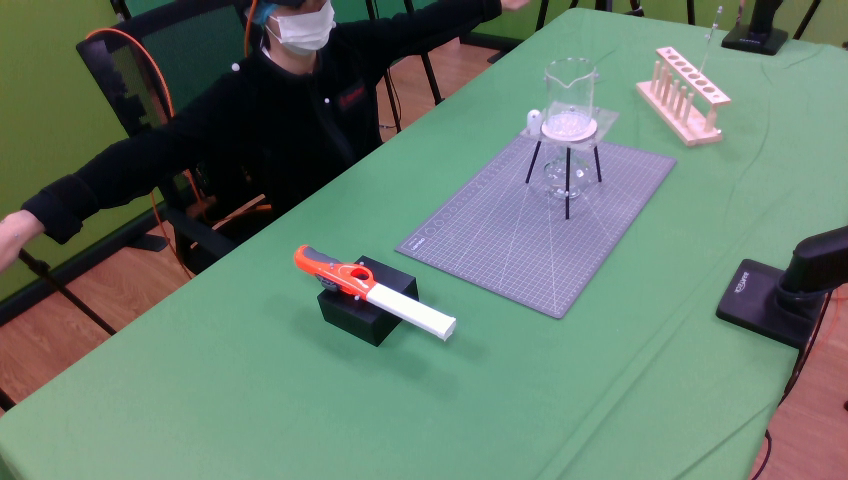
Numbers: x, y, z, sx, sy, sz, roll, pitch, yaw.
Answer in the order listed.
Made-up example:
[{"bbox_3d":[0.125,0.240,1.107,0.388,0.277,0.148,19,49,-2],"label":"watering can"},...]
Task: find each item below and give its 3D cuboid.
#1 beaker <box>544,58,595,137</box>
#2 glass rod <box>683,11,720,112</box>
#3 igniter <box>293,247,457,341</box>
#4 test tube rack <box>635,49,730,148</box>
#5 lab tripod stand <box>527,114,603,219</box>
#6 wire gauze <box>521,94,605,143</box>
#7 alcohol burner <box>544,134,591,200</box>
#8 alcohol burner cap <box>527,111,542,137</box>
[{"bbox_3d":[0.222,-0.214,0.926,0.074,0.101,0.084,4,42,16],"label":"beaker"},{"bbox_3d":[0.518,-0.329,1.133,0.008,0.200,0.008,1,42,-1],"label":"glass rod"},{"bbox_3d":[-0.078,0.068,0.830,0.274,0.025,0.057,22,48,27],"label":"igniter"},{"bbox_3d":[0.497,-0.283,1.185,0.067,0.085,0.240,-10,40,-2],"label":"test tube rack"},{"bbox_3d":[0.234,-0.129,1.002,0.148,0.132,0.147,-6,40,6],"label":"lab tripod stand"},{"bbox_3d":[0.219,-0.190,0.949,0.121,0.011,0.125,7,46,14],"label":"wire gauze"},{"bbox_3d":[0.241,-0.127,1.014,0.078,0.119,0.077,-5,42,5],"label":"alcohol burner"},{"bbox_3d":[0.220,-0.233,1.200,0.034,0.048,0.033,-6,41,6],"label":"alcohol burner cap"}]
